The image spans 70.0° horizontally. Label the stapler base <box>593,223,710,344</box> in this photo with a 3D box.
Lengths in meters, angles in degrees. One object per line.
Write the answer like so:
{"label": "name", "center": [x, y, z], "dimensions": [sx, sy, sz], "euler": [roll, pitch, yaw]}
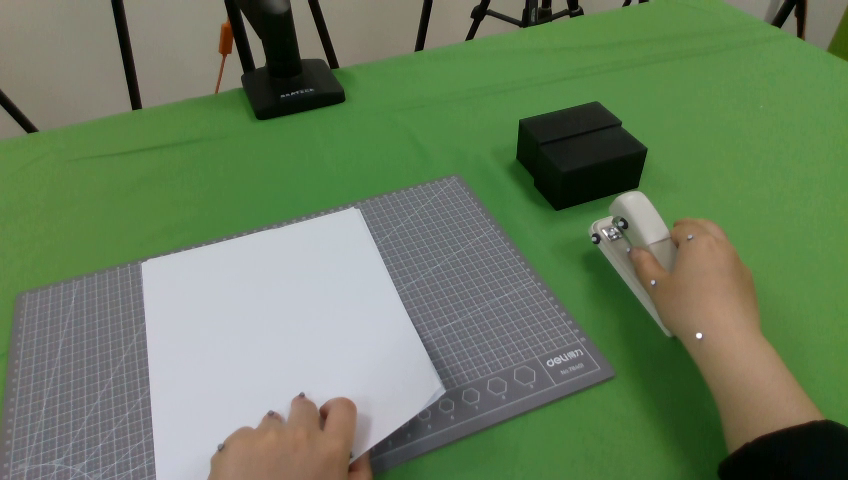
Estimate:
{"label": "stapler base", "center": [0.199, 0.029, 0.533], "dimensions": [0.041, 0.024, 0.129], "euler": [-19, 56, -14]}

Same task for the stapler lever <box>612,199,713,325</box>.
{"label": "stapler lever", "center": [0.201, 0.014, 0.513], "dimensions": [0.027, 0.040, 0.117], "euler": [-19, 56, -14]}
